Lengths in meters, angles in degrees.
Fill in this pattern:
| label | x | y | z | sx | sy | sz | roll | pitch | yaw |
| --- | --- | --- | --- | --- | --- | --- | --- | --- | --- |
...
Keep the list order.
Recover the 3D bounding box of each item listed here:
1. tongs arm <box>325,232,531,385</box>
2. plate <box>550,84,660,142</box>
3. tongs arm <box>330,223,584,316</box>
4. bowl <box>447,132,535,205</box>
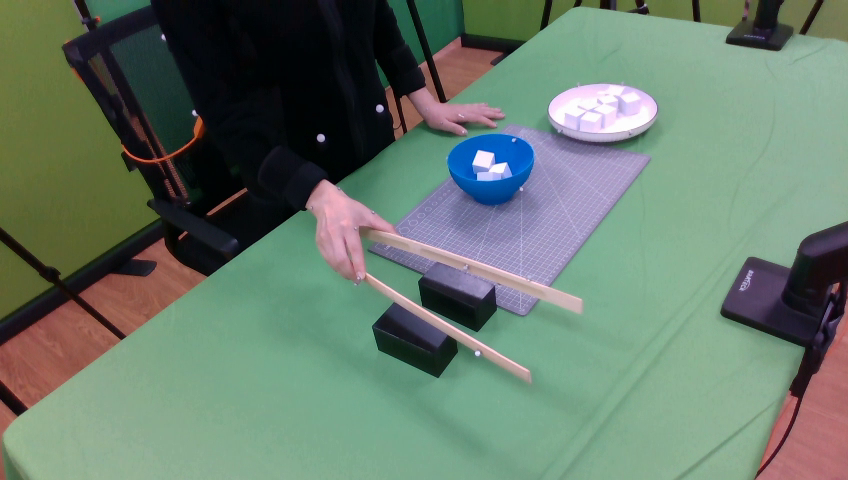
| label | x | y | z | sx | sy | sz | roll | pitch | yaw |
| --- | --- | --- | --- | --- | --- | --- | --- | --- | --- |
| tongs arm | -0.014 | 0.079 | 0.787 | 0.384 | 0.028 | 0.028 | 29 | 61 | 36 |
| plate | 0.355 | -0.246 | 1.195 | 0.207 | 0.039 | 0.206 | -5 | 39 | 5 |
| tongs arm | 0.027 | 0.039 | 0.822 | 0.382 | 0.026 | 0.051 | 21 | 52 | 31 |
| bowl | 0.119 | -0.115 | 1.051 | 0.151 | 0.077 | 0.150 | -5 | 40 | 5 |
